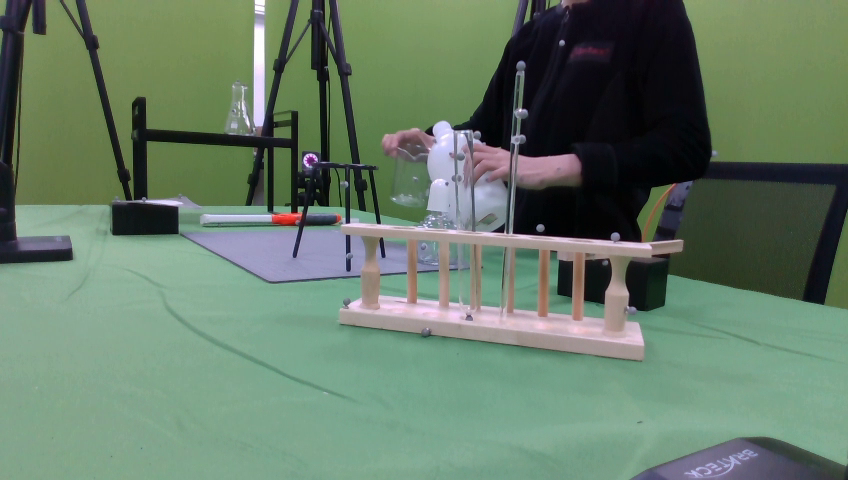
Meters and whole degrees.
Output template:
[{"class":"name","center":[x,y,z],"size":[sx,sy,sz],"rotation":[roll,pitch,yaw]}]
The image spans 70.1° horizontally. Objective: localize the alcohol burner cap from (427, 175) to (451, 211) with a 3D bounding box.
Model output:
[{"class":"alcohol burner cap","center":[0.023,-0.064,0.822],"size":[0.034,0.048,0.034],"rotation":[7,4,0]}]

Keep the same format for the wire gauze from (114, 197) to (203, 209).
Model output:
[{"class":"wire gauze","center":[-0.447,-0.062,1.015],"size":[0.126,0.011,0.121],"rotation":[-2,8,-31]}]

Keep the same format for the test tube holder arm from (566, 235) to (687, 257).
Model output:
[{"class":"test tube holder arm","center":[0.215,0.006,0.630],"size":[0.179,0.015,0.013],"rotation":[-3,9,-31]}]

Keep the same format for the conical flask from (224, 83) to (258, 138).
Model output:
[{"class":"conical flask","center":[-0.422,-0.299,1.395],"size":[0.075,0.122,0.075],"rotation":[2,7,0]}]

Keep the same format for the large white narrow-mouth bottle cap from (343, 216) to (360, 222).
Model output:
[{"class":"large white narrow-mouth bottle cap","center":[-0.148,-0.036,1.234],"size":[0.038,0.024,0.037],"rotation":[2,8,0]}]

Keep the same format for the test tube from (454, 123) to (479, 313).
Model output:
[{"class":"test tube","center":[0.034,-0.016,0.477],"size":[0.017,0.150,0.017],"rotation":[-2,9,1]}]

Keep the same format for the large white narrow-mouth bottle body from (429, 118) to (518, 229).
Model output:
[{"class":"large white narrow-mouth bottle body","center":[0.064,-0.112,0.947],"size":[0.102,0.194,0.102],"rotation":[-19,-26,-10]}]

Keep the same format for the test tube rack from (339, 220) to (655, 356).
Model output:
[{"class":"test tube rack","center":[0.056,0.032,0.495],"size":[0.242,0.085,0.067],"rotation":[4,7,15]}]

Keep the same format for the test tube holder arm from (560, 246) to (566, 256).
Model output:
[{"class":"test tube holder arm","center":[0.173,0.007,0.611],"size":[0.088,0.015,0.010],"rotation":[-3,9,-30]}]

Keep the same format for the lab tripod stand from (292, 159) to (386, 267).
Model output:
[{"class":"lab tripod stand","center":[-0.105,-0.039,0.798],"size":[0.148,0.131,0.148],"rotation":[2,5,0]}]

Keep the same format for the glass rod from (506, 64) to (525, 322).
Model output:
[{"class":"glass rod","center":[0.069,-0.030,0.458],"size":[0.008,0.199,0.008],"rotation":[0,15,0]}]

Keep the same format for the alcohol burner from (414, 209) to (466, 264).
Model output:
[{"class":"alcohol burner","center":[0.021,-0.028,0.826],"size":[0.078,0.119,0.078],"rotation":[0,6,0]}]

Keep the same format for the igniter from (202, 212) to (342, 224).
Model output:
[{"class":"igniter","center":[-0.298,-0.044,1.216],"size":[0.278,0.025,0.057],"rotation":[-2,-2,-32]}]

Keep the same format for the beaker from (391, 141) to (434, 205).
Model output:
[{"class":"beaker","center":[-0.017,-0.116,1.068],"size":[0.074,0.100,0.084],"rotation":[9,21,-2]}]
